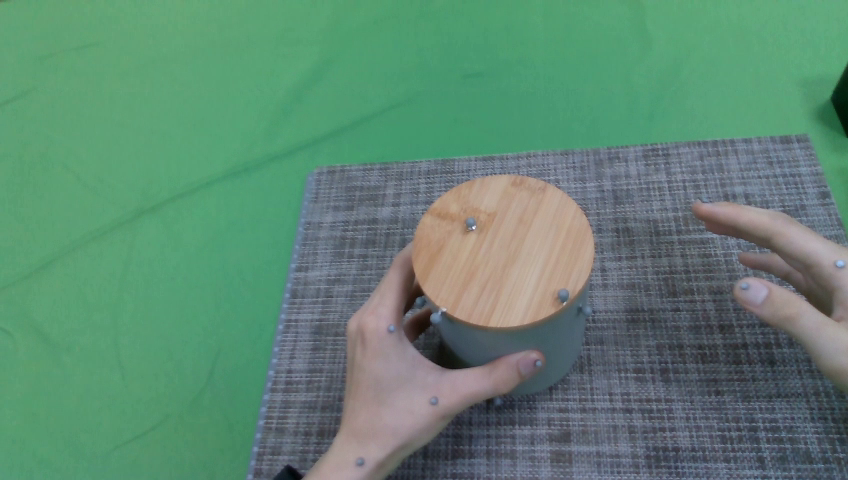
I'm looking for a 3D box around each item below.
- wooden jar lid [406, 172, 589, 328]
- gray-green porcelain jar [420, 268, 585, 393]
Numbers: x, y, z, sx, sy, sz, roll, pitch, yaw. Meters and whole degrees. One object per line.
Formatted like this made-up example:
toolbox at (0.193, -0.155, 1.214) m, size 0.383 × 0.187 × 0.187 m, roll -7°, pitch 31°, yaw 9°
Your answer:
wooden jar lid at (0.044, 0.006, 0.367) m, size 0.108 × 0.021 × 0.107 m, roll -4°, pitch 58°, yaw 7°
gray-green porcelain jar at (0.054, 0.040, 0.416) m, size 0.106 × 0.128 × 0.105 m, roll -5°, pitch 55°, yaw 8°
